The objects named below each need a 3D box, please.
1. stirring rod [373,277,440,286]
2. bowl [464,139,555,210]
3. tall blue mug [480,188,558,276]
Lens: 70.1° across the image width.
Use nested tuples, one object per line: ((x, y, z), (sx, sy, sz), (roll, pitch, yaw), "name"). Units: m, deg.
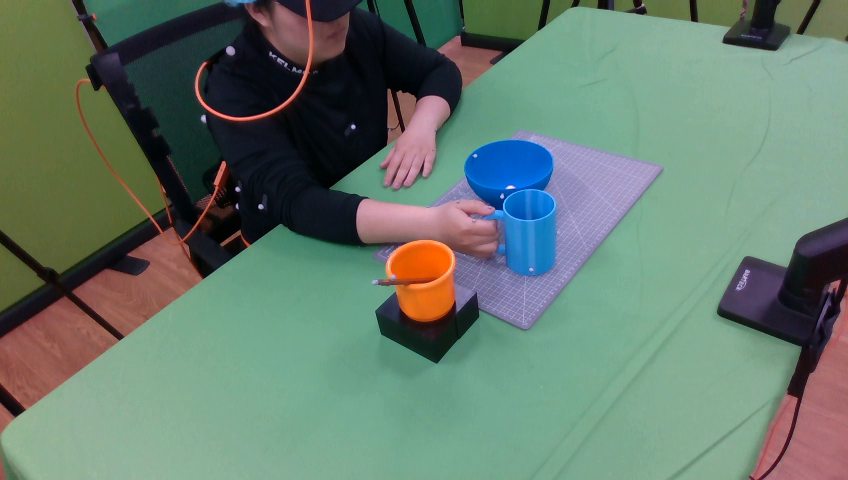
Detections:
((-0.018, 0.051, 0.757), (0.014, 0.006, 0.177), (12, 2, 23), "stirring rod")
((0.145, -0.100, 1.025), (0.151, 0.077, 0.150), (-5, 40, 5), "bowl")
((0.143, -0.007, 0.891), (0.107, 0.108, 0.077), (-16, 41, -8), "tall blue mug")
